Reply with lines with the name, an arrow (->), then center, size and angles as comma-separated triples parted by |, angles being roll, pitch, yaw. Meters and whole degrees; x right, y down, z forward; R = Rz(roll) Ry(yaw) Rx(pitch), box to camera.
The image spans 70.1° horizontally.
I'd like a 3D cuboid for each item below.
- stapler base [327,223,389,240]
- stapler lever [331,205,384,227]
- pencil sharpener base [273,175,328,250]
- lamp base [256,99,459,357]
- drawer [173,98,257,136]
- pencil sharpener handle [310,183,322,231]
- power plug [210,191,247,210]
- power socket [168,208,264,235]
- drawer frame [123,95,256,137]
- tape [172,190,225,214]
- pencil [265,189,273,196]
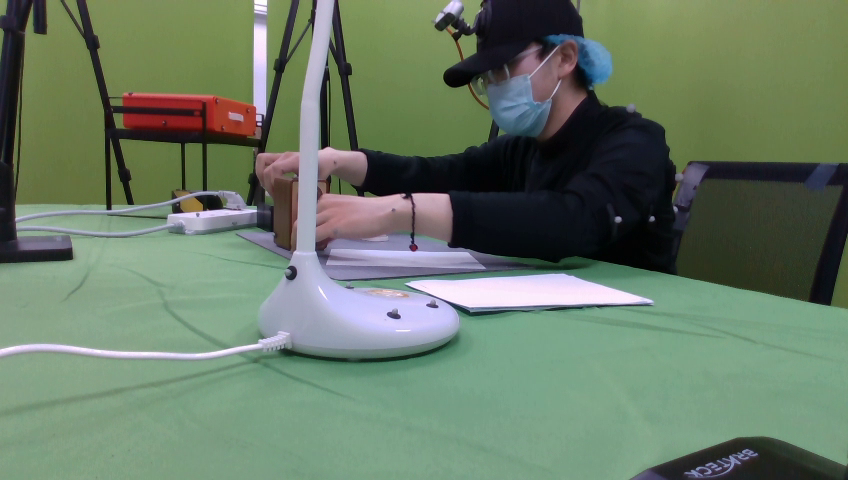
stapler base -> -0.117, -0.019, 1.073 | 0.130, 0.024, 0.041 | 7, 8, 41
stapler lever -> -0.119, -0.044, 1.070 | 0.117, 0.040, 0.027 | 7, 8, 41
pencil sharpener base -> -0.185, -0.041, 0.904 | 0.062, 0.107, 0.076 | -2, 9, -33
lamp base -> -0.055, -0.013, 0.463 | 0.160, 0.180, 0.180 | 6, 11, 27
drawer -> -0.518, -0.279, 1.376 | 0.211, 0.073, 0.195 | 3, 8, 10
pencil sharpener handle -> -0.156, -0.047, 0.861 | 0.036, 0.067, 0.030 | -6, 11, -33
power plug -> -0.386, -0.071, 1.204 | 0.072, 0.052, 0.035 | 7, 9, 26
power socket -> -0.381, -0.038, 1.129 | 0.072, 0.032, 0.227 | 4, 8, 17
drawer frame -> -0.523, -0.281, 1.376 | 0.213, 0.082, 0.202 | 3, 8, 8
tape -> -0.515, -0.087, 1.388 | 0.117, 0.052, 0.117 | 3, 7, 0
pencil -> -0.236, -0.079, 0.997 | 0.012, 0.012, 0.193 | -2, 4, -28
